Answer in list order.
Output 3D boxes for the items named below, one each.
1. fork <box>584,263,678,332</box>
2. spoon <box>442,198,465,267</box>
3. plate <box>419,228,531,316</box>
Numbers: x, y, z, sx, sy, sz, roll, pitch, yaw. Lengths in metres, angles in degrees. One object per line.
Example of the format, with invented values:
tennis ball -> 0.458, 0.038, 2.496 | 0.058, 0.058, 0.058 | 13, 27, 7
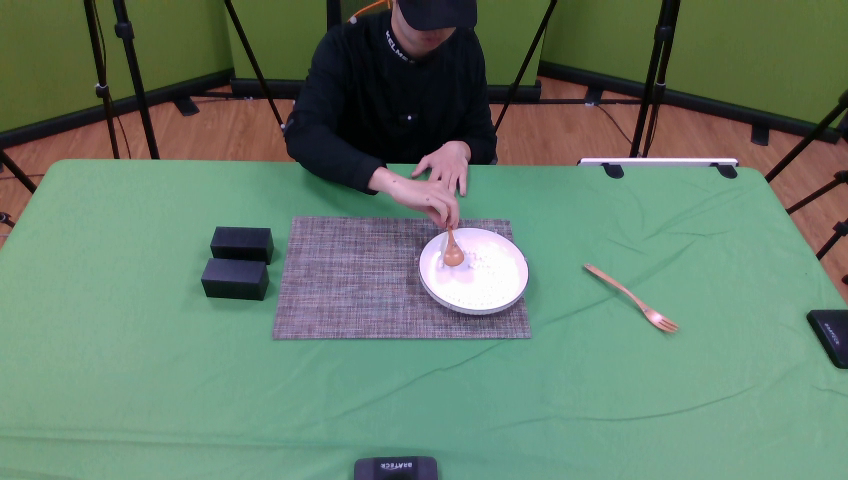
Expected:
fork -> 0.380, 0.103, 1.130 | 0.028, 0.019, 0.206 | -34, 58, -23
spoon -> 0.051, -0.019, 1.180 | 0.041, 0.022, 0.192 | -12, 49, 7
plate -> 0.093, 0.062, 1.130 | 0.208, 0.039, 0.206 | 2, 46, -2
